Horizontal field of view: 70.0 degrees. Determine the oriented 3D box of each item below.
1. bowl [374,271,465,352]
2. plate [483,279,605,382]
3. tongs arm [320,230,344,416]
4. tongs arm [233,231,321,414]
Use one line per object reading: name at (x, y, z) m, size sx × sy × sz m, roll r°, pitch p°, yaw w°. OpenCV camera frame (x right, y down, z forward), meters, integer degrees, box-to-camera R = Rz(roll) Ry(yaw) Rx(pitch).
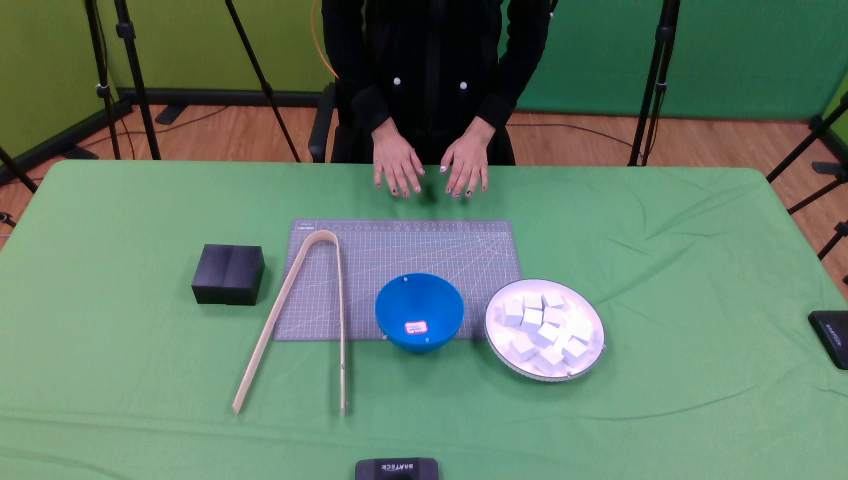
bowl at (-0.009, 0.136, 1.024) m, size 0.151 × 0.077 × 0.150 m, roll 2°, pitch 47°, yaw -2°
plate at (0.204, 0.158, 1.046) m, size 0.208 × 0.039 × 0.206 m, roll 3°, pitch 47°, yaw -3°
tongs arm at (-0.163, 0.126, 1.055) m, size 0.051 × 0.026 × 0.382 m, roll -4°, pitch 47°, yaw -3°
tongs arm at (-0.250, 0.124, 1.054) m, size 0.028 × 0.028 × 0.385 m, roll 5°, pitch 46°, yaw 10°
